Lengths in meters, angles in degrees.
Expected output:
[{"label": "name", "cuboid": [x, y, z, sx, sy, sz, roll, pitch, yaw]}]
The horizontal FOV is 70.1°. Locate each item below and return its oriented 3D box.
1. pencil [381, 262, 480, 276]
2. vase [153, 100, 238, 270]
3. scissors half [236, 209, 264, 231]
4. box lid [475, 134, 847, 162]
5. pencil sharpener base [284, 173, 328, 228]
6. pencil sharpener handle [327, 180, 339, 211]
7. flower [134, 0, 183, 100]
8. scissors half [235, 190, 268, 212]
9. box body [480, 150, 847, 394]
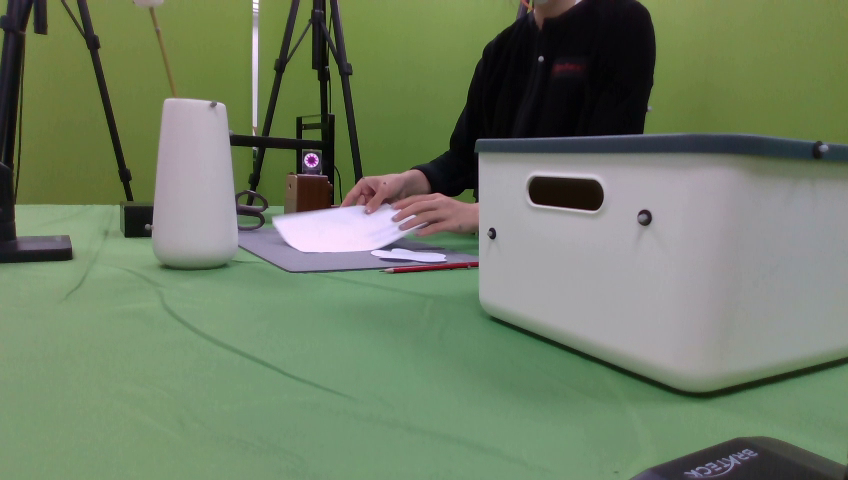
[{"label": "pencil", "cuboid": [0.031, 0.037, 0.794, 0.195, 0.012, 0.012, -4, 10, -31]}, {"label": "vase", "cuboid": [-0.278, -0.066, 0.736, 0.098, 0.200, 0.098, 2, 9, 0]}, {"label": "scissors half", "cuboid": [-0.369, -0.051, 1.065, 0.176, 0.040, 0.012, 19, 14, -27]}, {"label": "box lid", "cuboid": [0.256, -0.073, 0.528, 0.373, 0.015, 0.262, -2, 8, -31]}, {"label": "pencil sharpener base", "cuboid": [-0.239, -0.081, 1.231, 0.077, 0.107, 0.061, -2, 8, -36]}, {"label": "pencil sharpener handle", "cuboid": [-0.194, -0.094, 1.256, 0.031, 0.067, 0.036, -2, -5, -36]}, {"label": "flower", "cuboid": [-0.282, -0.147, 0.713, 0.038, 0.362, 0.044, -23, 24, -31]}, {"label": "scissors half", "cuboid": [-0.363, -0.070, 1.060, 0.176, 0.040, 0.013, 0, 17, -23]}, {"label": "box body", "cuboid": [0.254, 0.002, 0.539, 0.366, 0.160, 0.253, -2, 8, -31]}]
